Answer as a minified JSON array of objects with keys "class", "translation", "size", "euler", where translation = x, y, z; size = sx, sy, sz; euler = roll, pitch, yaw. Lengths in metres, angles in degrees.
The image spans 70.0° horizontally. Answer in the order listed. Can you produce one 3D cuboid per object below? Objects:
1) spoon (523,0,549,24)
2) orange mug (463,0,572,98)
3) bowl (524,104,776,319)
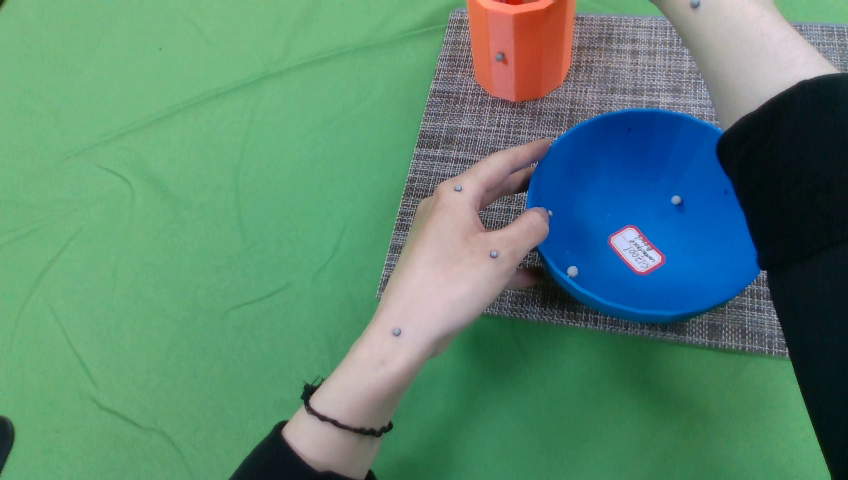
[{"class":"spoon","translation":[0.089,-0.216,0.421],"size":[0.021,0.194,0.041],"euler":[2,77,4]},{"class":"orange mug","translation":[0.084,-0.198,0.505],"size":[0.083,0.101,0.125],"euler":[18,72,18]},{"class":"bowl","translation":[0.143,-0.008,0.410],"size":[0.151,0.077,0.150],"euler":[-4,62,7]}]
